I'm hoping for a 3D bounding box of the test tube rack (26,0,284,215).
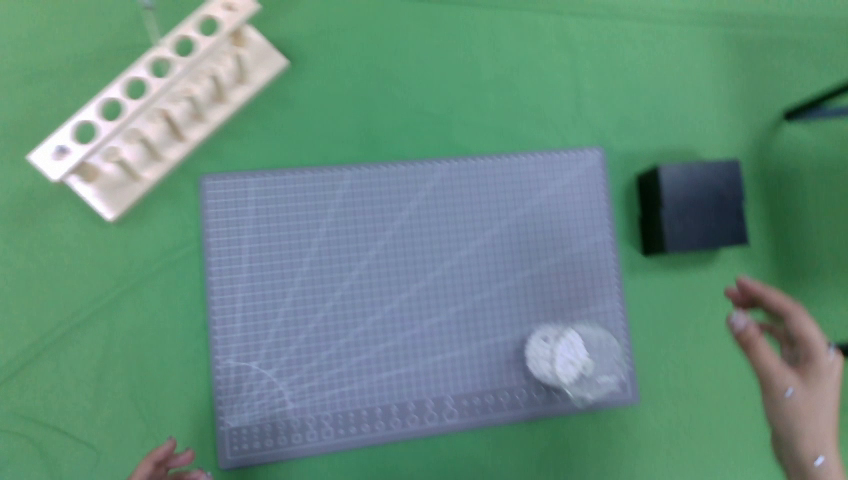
[{"bbox_3d":[-0.249,-0.139,0.591,0.067,0.085,0.242,43,79,-2],"label":"test tube rack"}]

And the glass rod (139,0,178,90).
[{"bbox_3d":[-0.236,-0.182,0.532,0.008,0.200,0.008,3,75,-12],"label":"glass rod"}]

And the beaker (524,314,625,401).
[{"bbox_3d":[0.148,0.117,0.621,0.074,0.100,0.083,13,82,-7],"label":"beaker"}]
